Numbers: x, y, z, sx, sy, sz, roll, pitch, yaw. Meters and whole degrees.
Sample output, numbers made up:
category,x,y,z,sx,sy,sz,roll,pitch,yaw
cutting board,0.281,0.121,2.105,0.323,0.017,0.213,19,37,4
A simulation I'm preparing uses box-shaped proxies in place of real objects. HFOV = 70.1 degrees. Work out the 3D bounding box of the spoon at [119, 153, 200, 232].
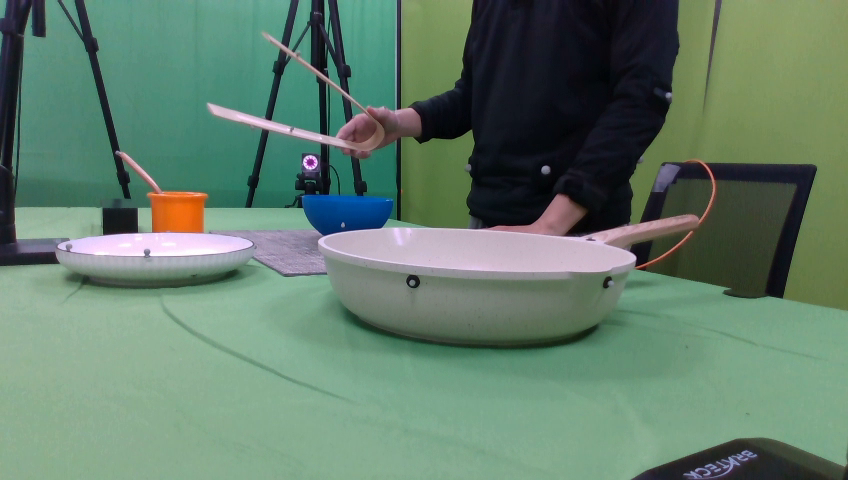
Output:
category,x,y,z,sx,sy,sz,roll,pitch,yaw
spoon,-0.439,-0.077,1.000,0.021,0.193,0.042,-43,-7,21

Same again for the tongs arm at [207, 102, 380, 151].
category,x,y,z,sx,sy,sz,roll,pitch,yaw
tongs arm,-0.203,-0.198,1.043,0.026,0.050,0.387,49,20,22

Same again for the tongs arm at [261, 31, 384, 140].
category,x,y,z,sx,sy,sz,roll,pitch,yaw
tongs arm,-0.153,-0.249,1.023,0.027,0.028,0.389,45,7,22

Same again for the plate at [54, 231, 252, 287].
category,x,y,z,sx,sy,sz,roll,pitch,yaw
plate,-0.309,0.020,0.704,0.208,0.039,0.207,2,7,0

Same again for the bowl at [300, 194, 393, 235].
category,x,y,z,sx,sy,sz,roll,pitch,yaw
bowl,-0.128,-0.034,0.995,0.151,0.077,0.151,2,7,0

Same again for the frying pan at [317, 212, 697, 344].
category,x,y,z,sx,sy,sz,roll,pitch,yaw
frying pan,0.133,0.013,0.629,0.490,0.102,0.305,-12,14,-31
